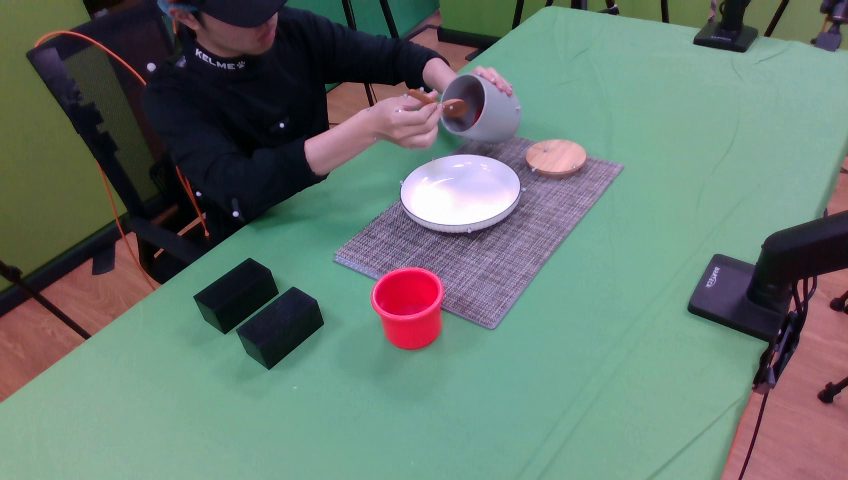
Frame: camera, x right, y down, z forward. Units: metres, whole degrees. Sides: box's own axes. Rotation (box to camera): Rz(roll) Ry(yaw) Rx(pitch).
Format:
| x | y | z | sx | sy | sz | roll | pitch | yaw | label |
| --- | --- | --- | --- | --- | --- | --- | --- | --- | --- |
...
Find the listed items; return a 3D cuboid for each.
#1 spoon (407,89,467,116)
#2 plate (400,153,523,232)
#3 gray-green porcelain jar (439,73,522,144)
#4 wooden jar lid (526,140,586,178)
| x | y | z | sx | sy | sz | roll | pitch | yaw | label |
| --- | --- | --- | --- | --- | --- | --- | --- | --- | --- |
| 0.023 | -0.222 | 0.976 | 0.041 | 0.021 | 0.195 | -23 | -5 | 25 | spoon |
| 0.065 | -0.078 | 1.034 | 0.207 | 0.039 | 0.206 | -4 | 41 | 4 | plate |
| 0.106 | -0.231 | 1.085 | 0.105 | 0.106 | 0.127 | 33 | 18 | 37 | gray-green porcelain jar |
| 0.240 | -0.147 | 1.103 | 0.108 | 0.021 | 0.108 | -4 | 42 | 4 | wooden jar lid |
